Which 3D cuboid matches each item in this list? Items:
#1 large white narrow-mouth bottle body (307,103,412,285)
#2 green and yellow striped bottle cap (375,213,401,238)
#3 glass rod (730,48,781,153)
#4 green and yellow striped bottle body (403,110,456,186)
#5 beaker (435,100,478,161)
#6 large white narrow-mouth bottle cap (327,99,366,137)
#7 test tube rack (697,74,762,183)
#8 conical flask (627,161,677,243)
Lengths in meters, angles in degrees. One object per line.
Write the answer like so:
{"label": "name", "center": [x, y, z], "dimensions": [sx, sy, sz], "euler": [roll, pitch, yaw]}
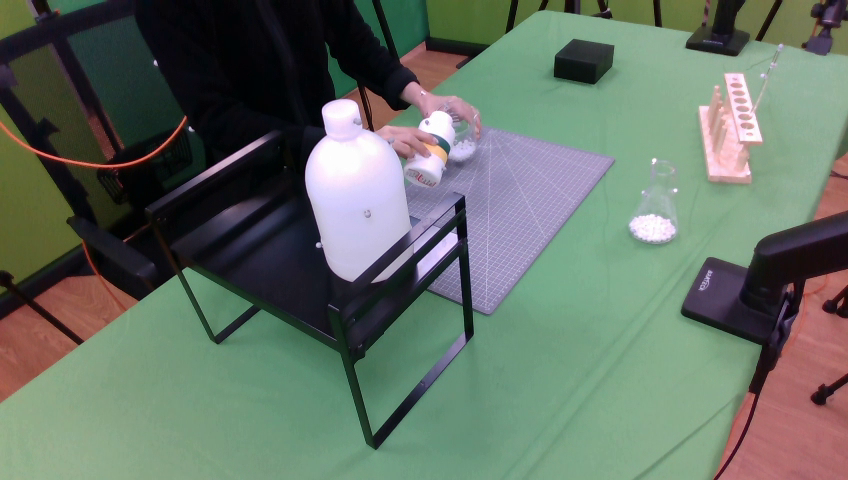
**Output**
{"label": "large white narrow-mouth bottle body", "center": [-0.070, -0.051, 0.638], "dimensions": [0.102, 0.195, 0.101], "euler": [-3, 40, 3]}
{"label": "green and yellow striped bottle cap", "center": [-0.061, -0.025, 1.016], "dimensions": [0.045, 0.020, 0.045], "euler": [-2, 42, 3]}
{"label": "glass rod", "center": [0.554, -0.228, 1.015], "dimensions": [0.008, 0.200, 0.008], "euler": [1, 44, -1]}
{"label": "green and yellow striped bottle body", "center": [0.012, -0.152, 0.982], "dimensions": [0.063, 0.063, 0.119], "euler": [10, 65, 19]}
{"label": "beaker", "center": [0.061, -0.195, 1.093], "dimensions": [0.084, 0.101, 0.073], "euler": [-19, 66, 0]}
{"label": "large white narrow-mouth bottle cap", "center": [-0.075, -0.117, 0.582], "dimensions": [0.038, 0.024, 0.037], "euler": [-3, 40, 3]}
{"label": "test tube rack", "center": [0.547, -0.208, 1.095], "dimensions": [0.066, 0.085, 0.242], "euler": [5, 42, 15]}
{"label": "conical flask", "center": [0.355, -0.061, 0.921], "dimensions": [0.075, 0.122, 0.075], "euler": [-4, 41, 4]}
